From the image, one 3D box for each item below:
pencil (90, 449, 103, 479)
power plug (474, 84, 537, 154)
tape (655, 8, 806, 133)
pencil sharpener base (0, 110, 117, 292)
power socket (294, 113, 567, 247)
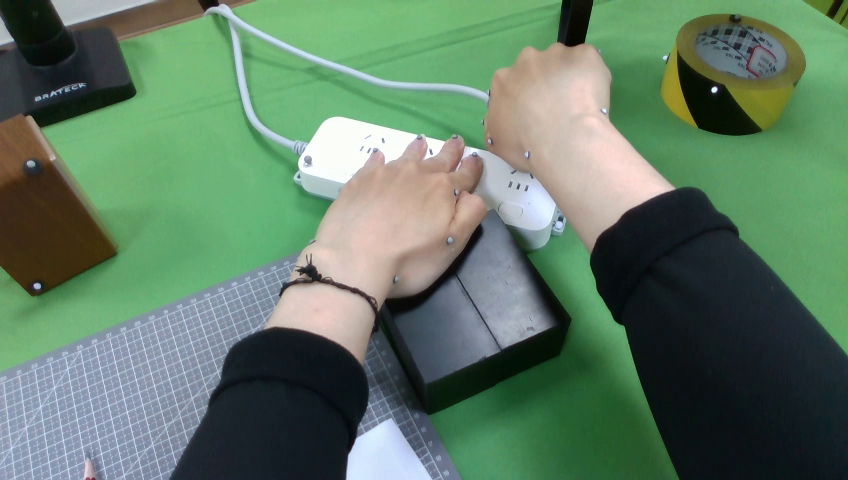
[{"bbox_3d":[-0.172,0.200,0.321,0.012,0.012,0.192,-17,53,-11],"label":"pencil"},{"bbox_3d":[0.070,-0.099,0.518,0.035,0.053,0.072,-12,43,-10],"label":"power plug"},{"bbox_3d":[0.275,-0.155,0.550,0.117,0.053,0.115,0,54,1],"label":"tape"},{"bbox_3d":[-0.283,-0.023,0.428,0.076,0.108,0.061,-33,60,-21],"label":"pencil sharpener base"},{"bbox_3d":[0.004,-0.051,0.490,0.226,0.033,0.072,15,55,12],"label":"power socket"}]
